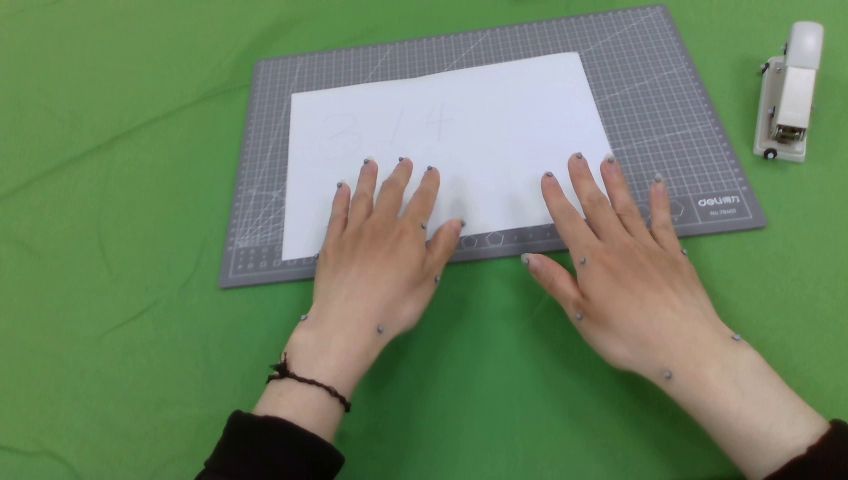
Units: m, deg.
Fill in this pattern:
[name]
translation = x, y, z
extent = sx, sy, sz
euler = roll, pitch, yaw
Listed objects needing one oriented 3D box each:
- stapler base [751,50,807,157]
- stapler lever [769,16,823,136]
[stapler base]
translation = 0.322, -0.130, 0.539
extent = 0.041, 0.025, 0.130
euler = 13, 60, 20
[stapler lever]
translation = 0.318, -0.143, 0.517
extent = 0.026, 0.040, 0.117
euler = 13, 60, 21
